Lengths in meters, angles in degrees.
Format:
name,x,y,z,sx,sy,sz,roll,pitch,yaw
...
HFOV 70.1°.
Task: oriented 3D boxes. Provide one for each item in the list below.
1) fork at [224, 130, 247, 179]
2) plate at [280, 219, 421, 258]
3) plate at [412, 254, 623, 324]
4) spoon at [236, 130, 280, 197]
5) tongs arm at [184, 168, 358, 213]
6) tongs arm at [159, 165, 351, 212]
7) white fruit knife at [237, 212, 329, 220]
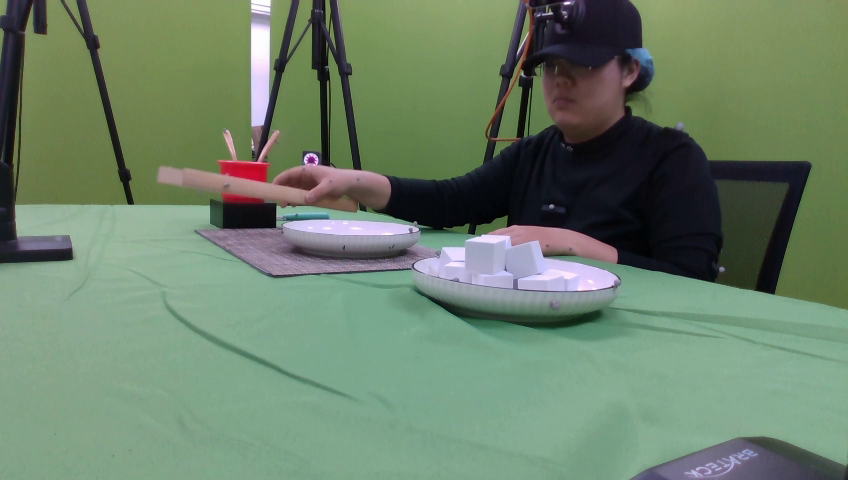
name,x,y,z,sx,sy,sz,roll,pitch,yaw
fork,-0.372,-0.155,1.193,0.028,0.018,0.206,-17,54,-14
plate,-0.108,-0.002,0.902,0.208,0.039,0.207,3,7,0
plate,0.090,0.047,0.609,0.209,0.038,0.209,2,7,0
spoon,-0.321,-0.153,1.192,0.041,0.193,0.022,1,-37,19
tongs arm,-0.234,-0.078,1.025,0.028,0.027,0.390,4,-2,34
tongs arm,-0.266,-0.083,1.049,0.050,0.026,0.387,8,1,35
white fruit knife,-0.304,-0.050,1.328,0.208,0.016,0.027,-3,-19,-29
